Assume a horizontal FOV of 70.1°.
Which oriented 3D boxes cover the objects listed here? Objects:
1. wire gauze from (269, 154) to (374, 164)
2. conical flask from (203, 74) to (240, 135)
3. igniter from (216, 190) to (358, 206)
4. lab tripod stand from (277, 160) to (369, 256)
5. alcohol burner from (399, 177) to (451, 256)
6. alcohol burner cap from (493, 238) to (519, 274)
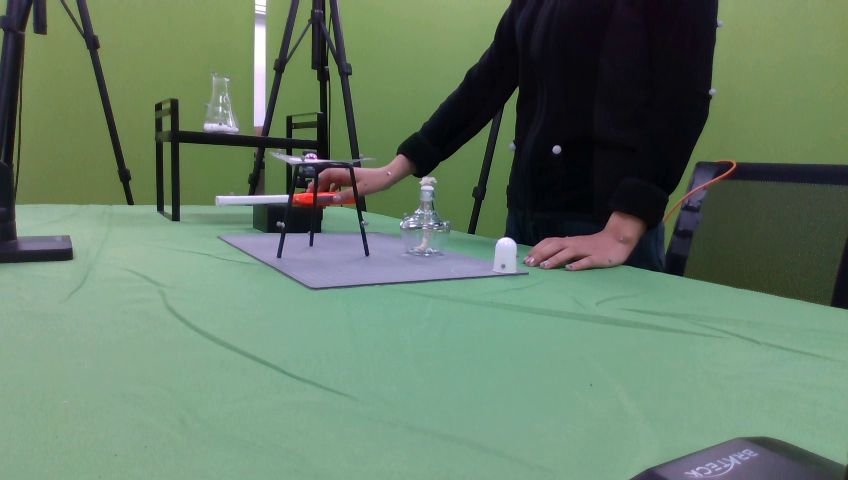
[{"bbox_3d":[-0.146,-0.114,0.860,0.122,0.011,0.124,-2,9,-29],"label":"wire gauze"},{"bbox_3d":[-0.425,-0.284,1.272,0.075,0.122,0.075,3,7,0],"label":"conical flask"},{"bbox_3d":[-0.248,-0.079,1.142,0.278,0.025,0.057,-5,8,-31],"label":"igniter"},{"bbox_3d":[-0.150,-0.046,0.861,0.148,0.131,0.148,3,9,0],"label":"lab tripod stand"},{"bbox_3d":[0.003,-0.035,0.909,0.078,0.119,0.078,4,8,0],"label":"alcohol burner"},{"bbox_3d":[0.107,0.021,0.785,0.034,0.048,0.034,1,7,0],"label":"alcohol burner cap"}]
